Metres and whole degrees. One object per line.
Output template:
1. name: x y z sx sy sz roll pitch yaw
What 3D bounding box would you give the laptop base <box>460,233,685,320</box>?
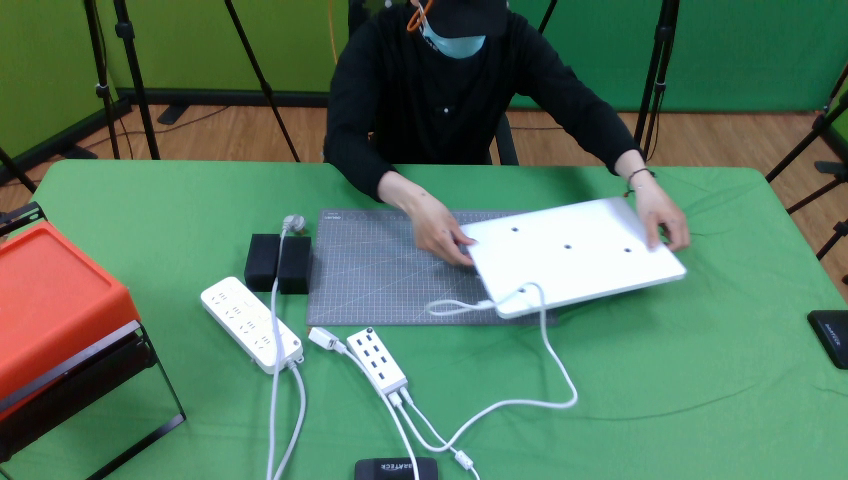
1. laptop base: 0.266 0.026 1.120 0.355 0.023 0.234 -11 42 -12

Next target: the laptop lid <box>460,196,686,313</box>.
1. laptop lid: 0.265 0.015 1.113 0.357 0.013 0.240 -10 42 -10

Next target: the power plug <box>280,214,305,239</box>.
1. power plug: -0.261 -0.020 1.185 0.035 0.053 0.072 12 57 32

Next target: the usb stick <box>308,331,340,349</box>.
1. usb stick: -0.175 0.167 1.022 0.059 0.027 0.021 10 88 24

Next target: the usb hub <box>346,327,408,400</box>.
1. usb hub: -0.078 0.202 0.998 0.049 0.025 0.124 -23 52 -24

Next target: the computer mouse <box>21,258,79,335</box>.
1. computer mouse: -0.505 0.073 0.819 0.063 0.041 0.116 -6 57 -19

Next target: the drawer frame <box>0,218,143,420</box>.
1. drawer frame: -0.518 0.096 0.777 0.201 0.083 0.213 30 52 22

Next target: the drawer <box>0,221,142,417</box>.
1. drawer: -0.516 0.095 0.780 0.193 0.073 0.211 32 53 23

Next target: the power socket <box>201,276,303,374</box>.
1. power socket: -0.296 0.141 1.034 0.072 0.033 0.225 -35 58 -31
